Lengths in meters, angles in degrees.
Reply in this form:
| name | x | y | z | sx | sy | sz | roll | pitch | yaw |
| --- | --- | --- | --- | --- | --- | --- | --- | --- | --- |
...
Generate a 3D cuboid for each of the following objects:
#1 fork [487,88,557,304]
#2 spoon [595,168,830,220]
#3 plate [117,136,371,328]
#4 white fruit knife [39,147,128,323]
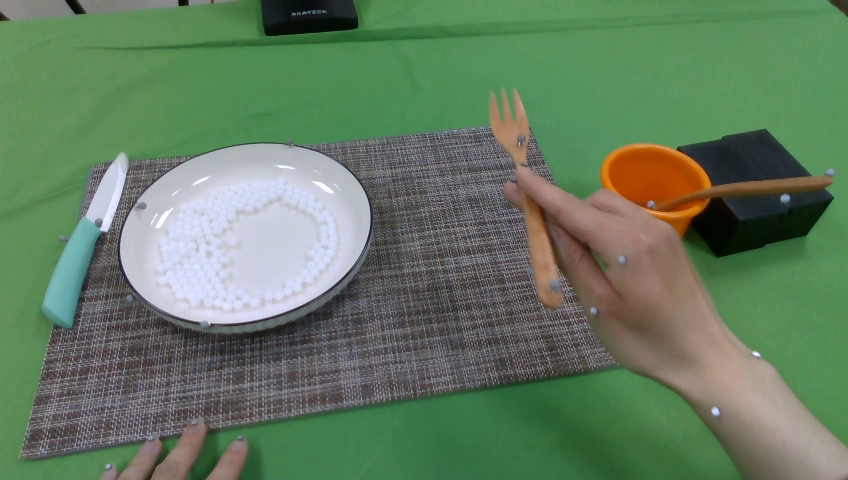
| name | x | y | z | sx | sy | sz | roll | pitch | yaw |
| --- | --- | --- | --- | --- | --- | --- | --- | --- | --- |
| fork | 0.064 | -0.041 | 0.402 | 0.028 | 0.019 | 0.205 | 1 | 44 | -3 |
| spoon | 0.222 | -0.039 | 0.496 | 0.041 | 0.193 | 0.022 | -40 | 105 | -31 |
| plate | -0.149 | -0.009 | 0.523 | 0.209 | 0.038 | 0.207 | 1 | 50 | -1 |
| white fruit knife | -0.297 | -0.016 | 0.539 | 0.027 | 0.016 | 0.205 | 19 | 43 | -24 |
